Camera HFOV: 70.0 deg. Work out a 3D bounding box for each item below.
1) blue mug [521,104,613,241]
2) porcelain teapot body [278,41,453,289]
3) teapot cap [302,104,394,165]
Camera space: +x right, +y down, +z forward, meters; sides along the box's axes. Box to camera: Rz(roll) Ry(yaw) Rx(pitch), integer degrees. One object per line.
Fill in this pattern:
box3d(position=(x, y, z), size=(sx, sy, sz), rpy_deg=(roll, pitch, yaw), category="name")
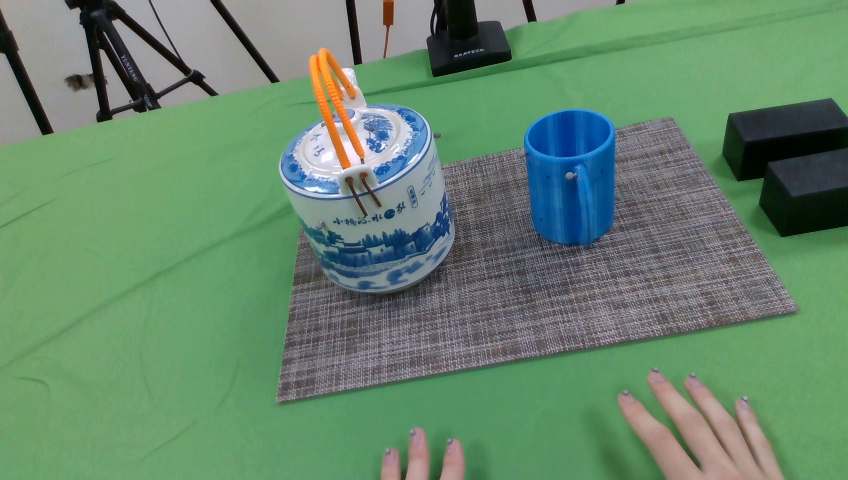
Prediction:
box3d(position=(0.142, -0.055, 0.579), size=(0.082, 0.107, 0.115), rpy_deg=(-11, 43, 5), category="blue mug")
box3d(position=(-0.064, -0.088, 0.586), size=(0.145, 0.228, 0.203), rpy_deg=(-16, 43, 0), category="porcelain teapot body")
box3d(position=(-0.069, -0.097, 0.538), size=(0.085, 0.044, 0.084), rpy_deg=(-6, 42, 6), category="teapot cap")
